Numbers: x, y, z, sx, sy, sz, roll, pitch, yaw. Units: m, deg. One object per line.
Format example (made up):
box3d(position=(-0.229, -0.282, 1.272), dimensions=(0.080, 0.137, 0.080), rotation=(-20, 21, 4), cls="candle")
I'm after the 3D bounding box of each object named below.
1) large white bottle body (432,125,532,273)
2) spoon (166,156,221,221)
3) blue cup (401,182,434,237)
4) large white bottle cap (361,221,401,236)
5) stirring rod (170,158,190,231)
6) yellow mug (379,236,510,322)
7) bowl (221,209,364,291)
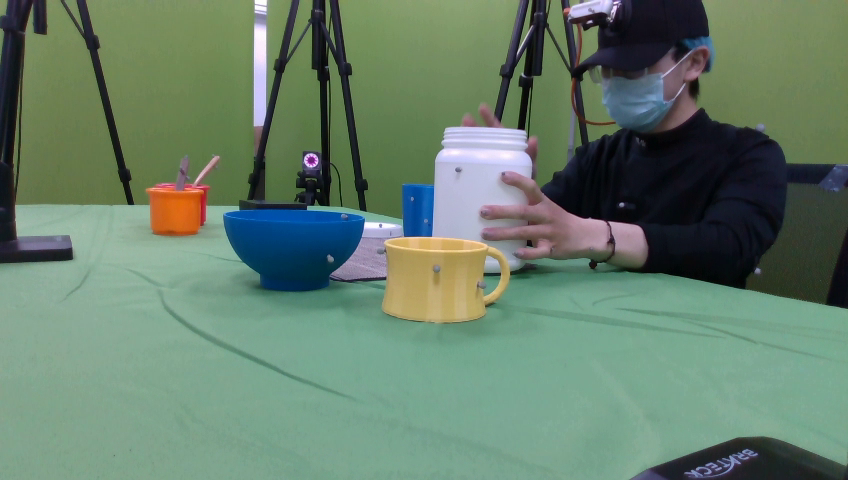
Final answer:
box3d(position=(0.076, -0.057, 0.808), dimensions=(0.131, 0.184, 0.130), rotation=(2, 7, 0), cls="large white bottle body")
box3d(position=(-0.447, -0.104, 1.192), dimensions=(0.041, 0.022, 0.193), rotation=(7, 52, 14), cls="spoon")
box3d(position=(0.002, -0.039, 0.966), dimensions=(0.093, 0.100, 0.092), rotation=(4, 8, 0), cls="blue cup")
box3d(position=(-0.099, -0.021, 1.123), dimensions=(0.115, 0.018, 0.115), rotation=(2, 7, 0), cls="large white bottle cap")
box3d(position=(-0.426, -0.082, 1.060), dimensions=(0.014, 0.006, 0.175), rotation=(2, 49, -14), cls="stirring rod")
box3d(position=(0.024, 0.034, 0.575), dimensions=(0.131, 0.064, 0.099), rotation=(1, 7, -22), cls="yellow mug")
box3d(position=(-0.142, 0.011, 0.660), dimensions=(0.151, 0.077, 0.151), rotation=(2, 7, 0), cls="bowl")
